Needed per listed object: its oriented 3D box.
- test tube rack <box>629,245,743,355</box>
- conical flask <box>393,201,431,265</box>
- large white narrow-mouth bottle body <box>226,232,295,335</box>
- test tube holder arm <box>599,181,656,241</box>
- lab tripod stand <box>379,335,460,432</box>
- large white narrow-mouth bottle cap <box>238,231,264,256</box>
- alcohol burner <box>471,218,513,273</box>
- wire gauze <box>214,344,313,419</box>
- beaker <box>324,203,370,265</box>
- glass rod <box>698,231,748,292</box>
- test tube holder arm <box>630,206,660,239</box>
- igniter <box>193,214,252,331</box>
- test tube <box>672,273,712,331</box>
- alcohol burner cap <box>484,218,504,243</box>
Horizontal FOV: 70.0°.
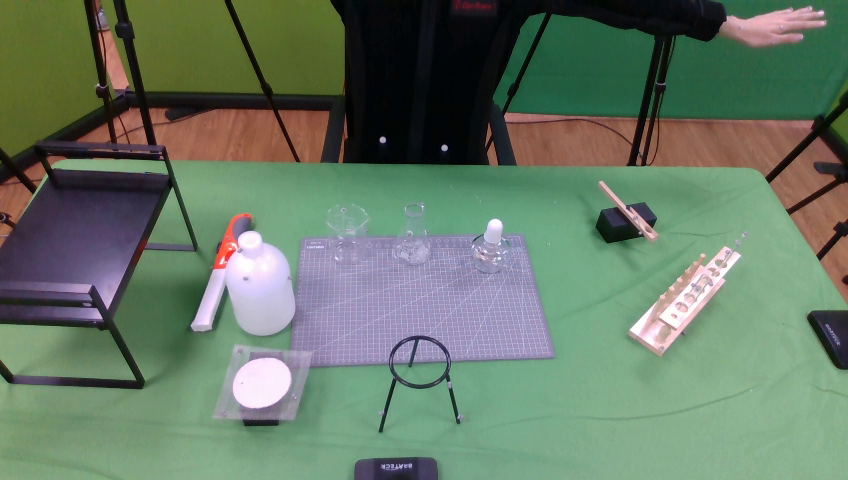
[{"bbox_3d":[0.474,0.095,1.091,0.242,0.085,0.066,-34,56,-31],"label":"test tube rack"},{"bbox_3d":[-0.021,-0.017,1.137,0.075,0.122,0.075,2,46,-2],"label":"conical flask"},{"bbox_3d":[-0.270,0.065,0.995,0.102,0.195,0.101,2,46,-2],"label":"large white narrow-mouth bottle body"},{"bbox_3d":[0.407,-0.062,1.219,0.013,0.015,0.177,-23,51,-13],"label":"test tube holder arm"},{"bbox_3d":[-0.011,0.214,0.911,0.148,0.132,0.147,1,45,0],"label":"lab tripod stand"},{"bbox_3d":[-0.266,0.006,0.932,0.038,0.024,0.037,2,46,-2],"label":"large white narrow-mouth bottle cap"},{"bbox_3d":[0.128,0.005,1.132,0.078,0.120,0.077,0,47,0],"label":"alcohol burner"},{"bbox_3d":[-0.241,0.213,0.915,0.121,0.011,0.124,5,46,1],"label":"wire gauze"},{"bbox_3d":[-0.142,-0.009,1.137,0.084,0.101,0.073,-3,47,-7],"label":"beaker"},{"bbox_3d":[0.513,0.044,1.051,0.008,0.200,0.008,1,55,-1],"label":"glass rod"},{"bbox_3d":[0.431,-0.035,1.192,0.010,0.015,0.087,-23,51,-12],"label":"test tube holder arm"},{"bbox_3d":[-0.368,0.050,1.119,0.057,0.025,0.275,-3,46,8],"label":"igniter"},{"bbox_3d":[0.439,0.106,1.009,0.017,0.151,0.017,4,47,-4],"label":"test tube"},{"bbox_3d":[0.130,-0.021,1.106,0.034,0.048,0.033,3,51,-4],"label":"alcohol burner cap"}]
